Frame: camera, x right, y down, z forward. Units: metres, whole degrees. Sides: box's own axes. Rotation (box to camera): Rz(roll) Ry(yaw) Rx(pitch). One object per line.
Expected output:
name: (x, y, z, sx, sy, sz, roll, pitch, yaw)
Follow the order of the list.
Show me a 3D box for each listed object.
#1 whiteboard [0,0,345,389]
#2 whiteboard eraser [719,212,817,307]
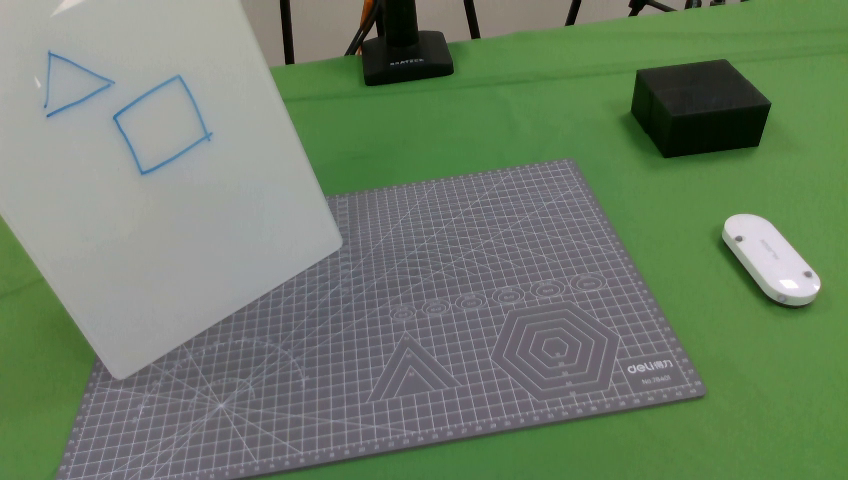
whiteboard: (-0.239, -0.080, 0.500, 0.217, 0.308, 0.142, -33, 29, -26)
whiteboard eraser: (0.281, 0.012, 0.498, 0.041, 0.019, 0.100, -9, 43, -3)
